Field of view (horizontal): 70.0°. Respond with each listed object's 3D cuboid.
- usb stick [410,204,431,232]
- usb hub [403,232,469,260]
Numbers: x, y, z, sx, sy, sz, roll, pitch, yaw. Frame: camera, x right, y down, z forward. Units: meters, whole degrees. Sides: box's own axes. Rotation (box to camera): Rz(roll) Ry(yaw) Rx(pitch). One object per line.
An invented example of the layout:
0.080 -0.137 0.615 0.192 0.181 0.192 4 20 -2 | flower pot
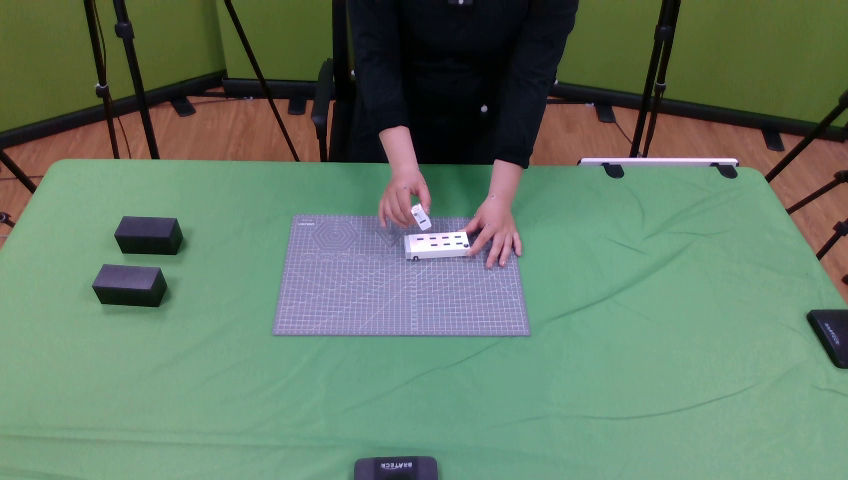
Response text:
-0.004 -0.037 1.154 0.021 0.059 0.027 -28 34 5 | usb stick
0.023 0.012 1.182 0.125 0.025 0.049 -3 47 -7 | usb hub
